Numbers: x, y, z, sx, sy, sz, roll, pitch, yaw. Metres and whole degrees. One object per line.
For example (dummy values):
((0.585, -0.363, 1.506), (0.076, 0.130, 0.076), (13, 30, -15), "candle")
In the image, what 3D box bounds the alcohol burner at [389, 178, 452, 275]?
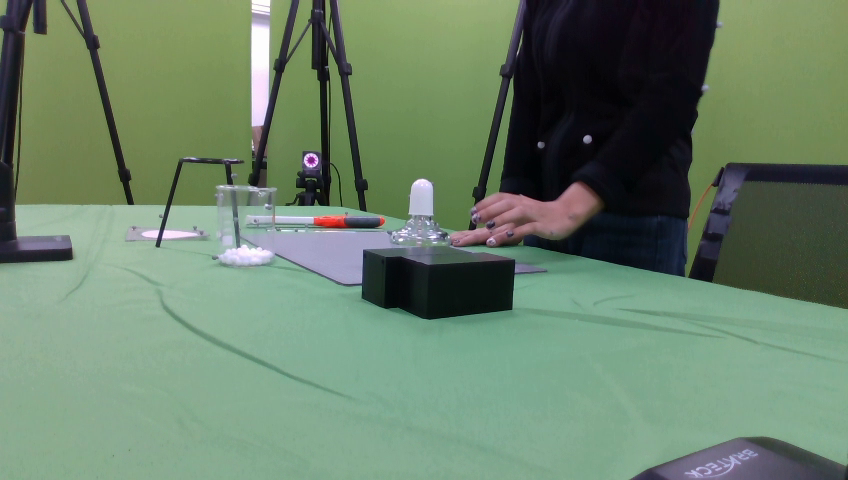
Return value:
((-0.004, -0.017, 0.749), (0.078, 0.119, 0.078), (1, 9, 0), "alcohol burner")

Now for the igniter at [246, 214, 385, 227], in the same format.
((-0.214, -0.040, 1.216), (0.278, 0.025, 0.057), (0, -2, -23), "igniter")

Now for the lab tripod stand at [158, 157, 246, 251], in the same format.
((-0.314, -0.055, 0.891), (0.148, 0.131, 0.148), (2, 9, 0), "lab tripod stand")

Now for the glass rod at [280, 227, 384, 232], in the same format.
((-0.175, -0.021, 1.162), (0.200, 0.008, 0.008), (1, 7, -16), "glass rod")

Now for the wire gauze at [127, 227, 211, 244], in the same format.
((-0.420, -0.010, 0.999), (0.122, 0.011, 0.124), (-2, 10, -24), "wire gauze")

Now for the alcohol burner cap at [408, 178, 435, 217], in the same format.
((-0.002, -0.053, 0.746), (0.034, 0.048, 0.034), (3, 3, 0), "alcohol burner cap")

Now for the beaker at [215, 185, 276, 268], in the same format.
((-0.226, -0.019, 0.773), (0.074, 0.100, 0.084), (5, 7, 14), "beaker")
